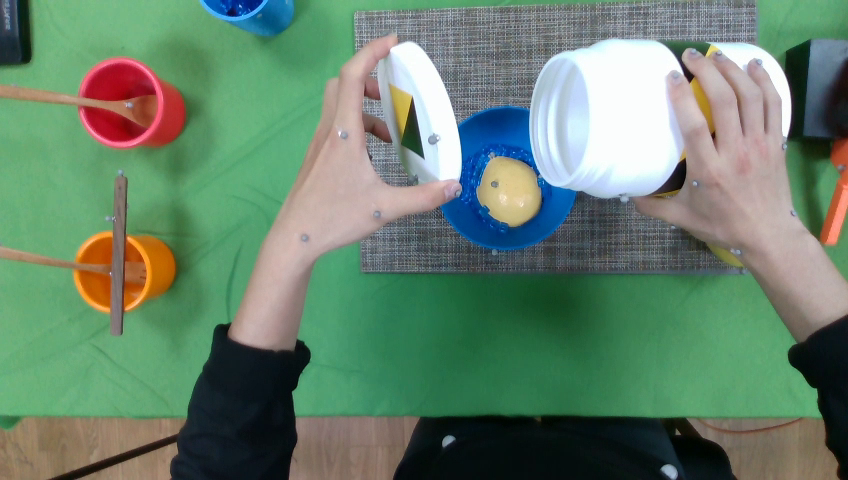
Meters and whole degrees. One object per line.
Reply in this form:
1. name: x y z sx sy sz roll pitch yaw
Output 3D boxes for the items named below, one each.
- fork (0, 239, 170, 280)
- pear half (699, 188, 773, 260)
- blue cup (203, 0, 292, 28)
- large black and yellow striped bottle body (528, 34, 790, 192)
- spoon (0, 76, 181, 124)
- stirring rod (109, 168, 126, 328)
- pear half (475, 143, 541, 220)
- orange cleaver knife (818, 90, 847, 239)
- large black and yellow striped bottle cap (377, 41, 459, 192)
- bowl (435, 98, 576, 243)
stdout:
1. fork: -0.386 0.018 0.664 0.209 0.018 0.028 15 106 -41
2. pear half: 0.328 -0.014 0.638 0.056 0.110 0.076 -20 89 6
3. blue cup: -0.187 -0.273 0.654 0.092 0.100 0.092 0 95 6
4. large black and yellow striped bottle body: 0.196 -0.109 0.526 0.184 0.130 0.131 -5 94 -15
5. spoon: -0.365 -0.157 0.653 0.195 0.021 0.041 2 98 -40
6. stirring rod: -0.334 0.010 0.659 0.014 0.006 0.176 4 95 1
7. pear half: 0.089 -0.066 0.657 0.070 0.031 0.088 -27 89 3
8. orange cleaver knife: 0.449 -0.102 0.641 0.012 0.076 0.213 2 123 9
9. large black and yellow striped bottle cap: -0.007 -0.093 0.465 0.019 0.114 0.115 -21 93 -16
10. bowl: 0.085 -0.073 0.662 0.151 0.077 0.151 0 95 4
